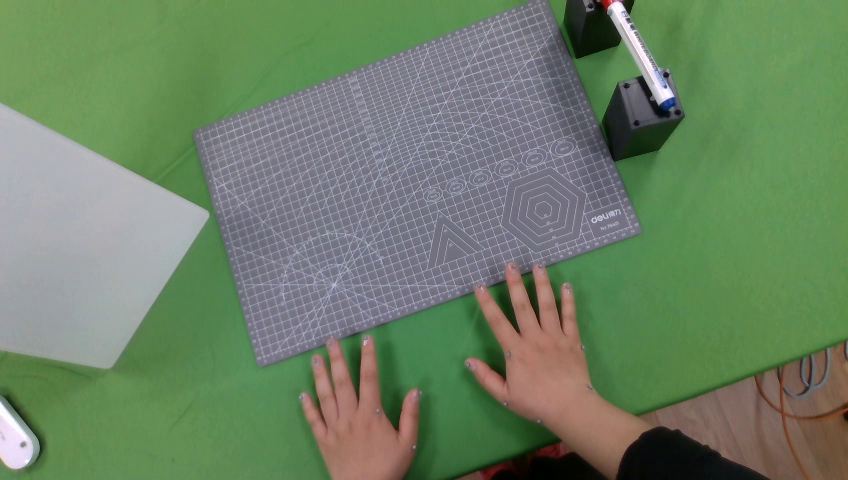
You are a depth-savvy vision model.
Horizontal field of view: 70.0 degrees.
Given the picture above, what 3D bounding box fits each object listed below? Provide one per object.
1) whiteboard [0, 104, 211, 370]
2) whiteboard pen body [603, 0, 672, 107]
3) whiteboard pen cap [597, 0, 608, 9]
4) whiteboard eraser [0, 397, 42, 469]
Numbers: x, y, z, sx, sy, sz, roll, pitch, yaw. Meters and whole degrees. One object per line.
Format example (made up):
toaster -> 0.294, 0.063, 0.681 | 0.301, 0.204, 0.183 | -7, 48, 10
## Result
whiteboard -> -0.421, -0.018, 0.617 | 0.142, 0.308, 0.217 | 30, 86, 31
whiteboard pen body -> 0.197, -0.189, 0.577 | 0.017, 0.017, 0.140 | -25, 80, 3
whiteboard pen cap -> 0.173, -0.242, 0.588 | 0.017, 0.017, 0.032 | -25, 80, 3
whiteboard eraser -> -0.486, 0.220, 0.699 | 0.101, 0.019, 0.041 | 42, 87, 11
